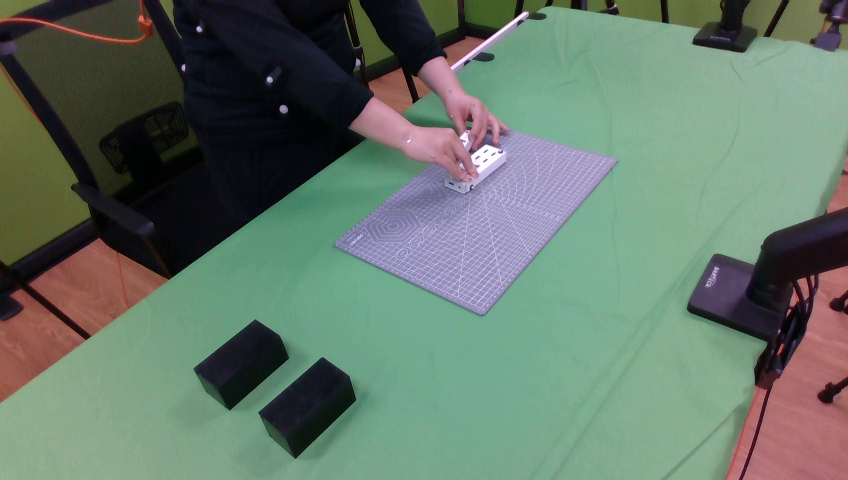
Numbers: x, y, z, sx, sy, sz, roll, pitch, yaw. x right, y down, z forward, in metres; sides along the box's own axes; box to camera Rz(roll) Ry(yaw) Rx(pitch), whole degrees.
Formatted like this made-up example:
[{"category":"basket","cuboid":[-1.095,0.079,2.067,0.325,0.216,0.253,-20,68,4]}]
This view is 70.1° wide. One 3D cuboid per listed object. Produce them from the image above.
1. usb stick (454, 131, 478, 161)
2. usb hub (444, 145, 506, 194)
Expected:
[{"category":"usb stick","cuboid":[0.076,-0.178,1.155,0.021,0.027,0.059,25,73,38]},{"category":"usb hub","cuboid":[0.095,-0.129,1.102,0.049,0.025,0.125,27,52,33]}]
